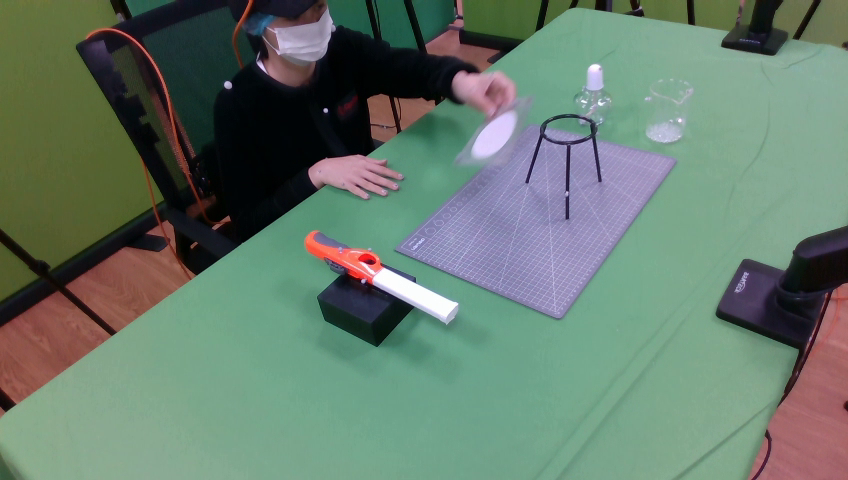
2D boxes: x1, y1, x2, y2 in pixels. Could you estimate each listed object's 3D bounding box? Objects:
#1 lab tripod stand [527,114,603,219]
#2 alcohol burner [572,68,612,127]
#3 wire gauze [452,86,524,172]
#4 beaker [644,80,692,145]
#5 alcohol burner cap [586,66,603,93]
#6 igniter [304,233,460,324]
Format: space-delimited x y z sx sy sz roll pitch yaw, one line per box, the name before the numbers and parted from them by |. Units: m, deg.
lab tripod stand | 0.234 -0.129 1.002 0.148 0.132 0.147 -6 40 6
alcohol burner | 0.333 -0.285 1.192 0.078 0.119 0.077 -4 42 4
wire gauze | 0.093 -0.169 0.907 0.120 0.011 0.124 -15 52 40
beaker | 0.451 -0.233 1.122 0.074 0.101 0.083 -8 40 1
alcohol burner cap | 0.330 -0.312 1.170 0.034 0.048 0.033 -8 38 7
igniter | -0.070 0.048 0.853 0.274 0.025 0.057 24 47 29
